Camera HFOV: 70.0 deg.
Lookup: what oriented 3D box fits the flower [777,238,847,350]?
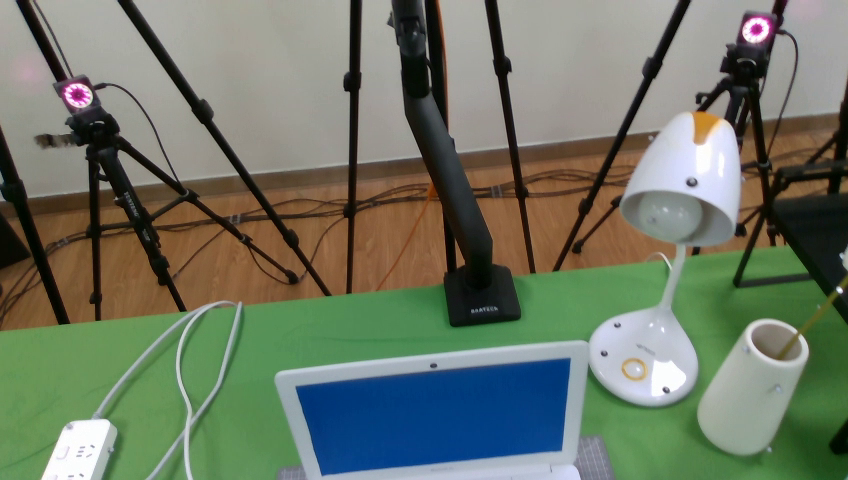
[{"bbox_3d":[0.430,0.118,0.719,0.038,0.364,0.043,12,36,-7],"label":"flower"}]

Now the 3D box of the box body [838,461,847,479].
[{"bbox_3d":[0.640,0.356,0.603,0.254,0.162,0.360,-5,44,1],"label":"box body"}]

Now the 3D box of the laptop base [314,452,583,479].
[{"bbox_3d":[0.034,0.384,0.727,0.354,0.023,0.233,-5,48,-1],"label":"laptop base"}]

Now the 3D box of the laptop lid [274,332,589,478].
[{"bbox_3d":[0.017,0.209,0.736,0.357,0.244,0.013,-7,38,0],"label":"laptop lid"}]

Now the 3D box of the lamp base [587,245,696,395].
[{"bbox_3d":[0.330,0.102,0.875,0.159,0.182,0.178,19,47,23],"label":"lamp base"}]

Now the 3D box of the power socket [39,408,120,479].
[{"bbox_3d":[-0.479,0.328,0.817,0.072,0.033,0.224,-3,44,1],"label":"power socket"}]

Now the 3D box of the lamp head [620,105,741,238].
[{"bbox_3d":[0.275,-0.075,0.631,0.112,0.113,0.122,17,66,21],"label":"lamp head"}]

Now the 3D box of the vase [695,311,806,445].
[{"bbox_3d":[0.416,0.177,0.777,0.098,0.202,0.097,-3,43,4],"label":"vase"}]
